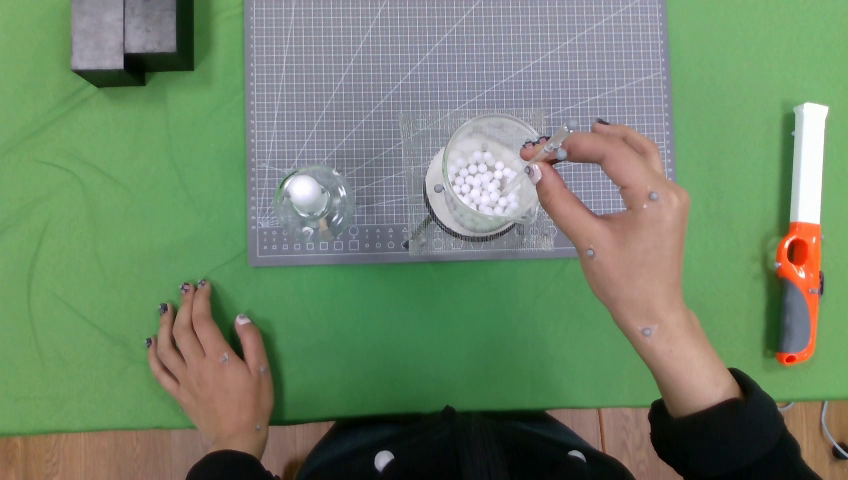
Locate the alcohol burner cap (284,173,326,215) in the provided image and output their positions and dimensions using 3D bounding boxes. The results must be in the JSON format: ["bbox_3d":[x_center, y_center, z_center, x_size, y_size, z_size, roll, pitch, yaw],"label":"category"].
[{"bbox_3d":[-0.107,-0.042,0.536,0.034,0.048,0.033,0,82,0],"label":"alcohol burner cap"}]

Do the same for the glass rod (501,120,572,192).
[{"bbox_3d":[0.070,-0.050,0.403,0.008,0.200,0.008,0,85,-2],"label":"glass rod"}]

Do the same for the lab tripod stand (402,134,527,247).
[{"bbox_3d":[0.038,-0.043,0.569,0.148,0.131,0.148,0,85,-1],"label":"lab tripod stand"}]

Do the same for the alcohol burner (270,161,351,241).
[{"bbox_3d":[-0.109,-0.040,0.572,0.078,0.119,0.077,0,84,-3],"label":"alcohol burner"}]

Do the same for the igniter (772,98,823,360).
[{"bbox_3d":[0.395,-0.011,0.639,0.057,0.025,0.276,7,86,-13],"label":"igniter"}]

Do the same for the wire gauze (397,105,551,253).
[{"bbox_3d":[0.041,-0.051,0.503,0.125,0.011,0.121,-2,84,-1],"label":"wire gauze"}]

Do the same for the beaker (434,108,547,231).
[{"bbox_3d":[0.047,-0.044,0.455,0.074,0.100,0.084,-34,87,-5],"label":"beaker"}]
